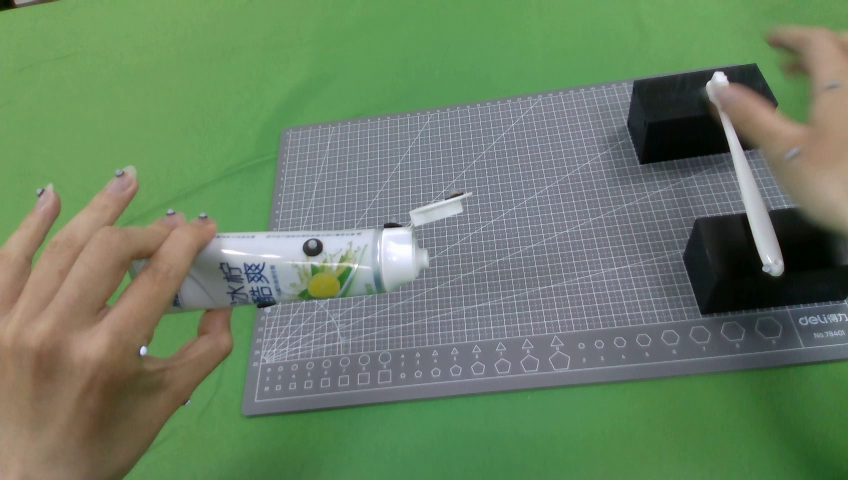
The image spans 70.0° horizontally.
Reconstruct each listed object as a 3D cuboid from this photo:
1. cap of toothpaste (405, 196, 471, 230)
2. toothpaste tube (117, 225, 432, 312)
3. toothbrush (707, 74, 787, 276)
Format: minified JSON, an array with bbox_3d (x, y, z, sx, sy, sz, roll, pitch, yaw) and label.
[{"bbox_3d":[0.008,-0.014,0.314,0.037,0.037,0.011,-20,93,-3],"label":"cap of toothpaste"},{"bbox_3d":[-0.078,0.012,0.325,0.165,0.055,0.034,-5,28,6],"label":"toothpaste tube"},{"bbox_3d":[0.231,-0.054,0.435,0.014,0.017,0.180,1,57,2],"label":"toothbrush"}]
